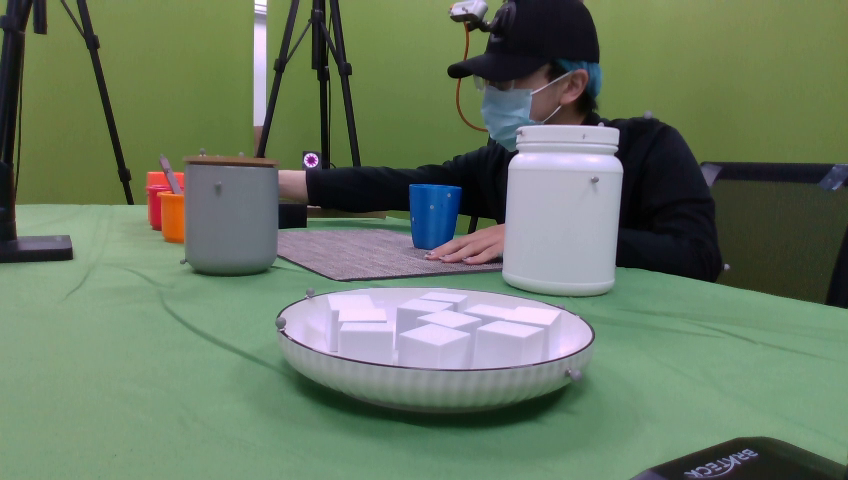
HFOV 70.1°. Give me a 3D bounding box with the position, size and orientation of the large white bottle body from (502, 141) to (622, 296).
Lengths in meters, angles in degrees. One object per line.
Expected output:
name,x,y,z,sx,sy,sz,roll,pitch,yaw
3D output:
large white bottle body,0.161,-0.037,0.706,0.131,0.184,0.130,2,7,0

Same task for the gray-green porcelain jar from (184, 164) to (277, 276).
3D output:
gray-green porcelain jar,-0.230,-0.025,0.722,0.106,0.126,0.106,3,7,0

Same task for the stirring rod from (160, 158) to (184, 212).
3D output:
stirring rod,-0.391,-0.070,0.972,0.014,0.006,0.175,-3,51,-48

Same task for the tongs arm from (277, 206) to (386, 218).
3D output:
tongs arm,-0.251,-0.064,1.360,0.387,0.026,0.050,-1,4,-32

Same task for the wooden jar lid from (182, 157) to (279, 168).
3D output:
wooden jar lid,-0.227,-0.086,0.714,0.108,0.020,0.108,0,6,0

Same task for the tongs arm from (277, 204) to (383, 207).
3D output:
tongs arm,-0.288,-0.071,1.435,0.389,0.027,0.028,0,0,-18

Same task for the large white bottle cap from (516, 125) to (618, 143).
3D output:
large white bottle cap,0.163,-0.120,0.695,0.115,0.018,0.115,2,7,0

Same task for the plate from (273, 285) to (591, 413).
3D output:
plate,0.005,0.069,0.407,0.208,0.039,0.207,2,7,0

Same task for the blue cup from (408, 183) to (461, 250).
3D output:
blue cup,0.015,-0.038,0.970,0.093,0.100,0.092,3,9,0

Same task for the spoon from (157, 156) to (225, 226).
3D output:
spoon,-0.425,-0.094,1.117,0.041,0.022,0.194,4,51,30

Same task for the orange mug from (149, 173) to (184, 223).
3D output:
orange mug,-0.488,-0.087,1.222,0.127,0.101,0.083,-8,12,-36
